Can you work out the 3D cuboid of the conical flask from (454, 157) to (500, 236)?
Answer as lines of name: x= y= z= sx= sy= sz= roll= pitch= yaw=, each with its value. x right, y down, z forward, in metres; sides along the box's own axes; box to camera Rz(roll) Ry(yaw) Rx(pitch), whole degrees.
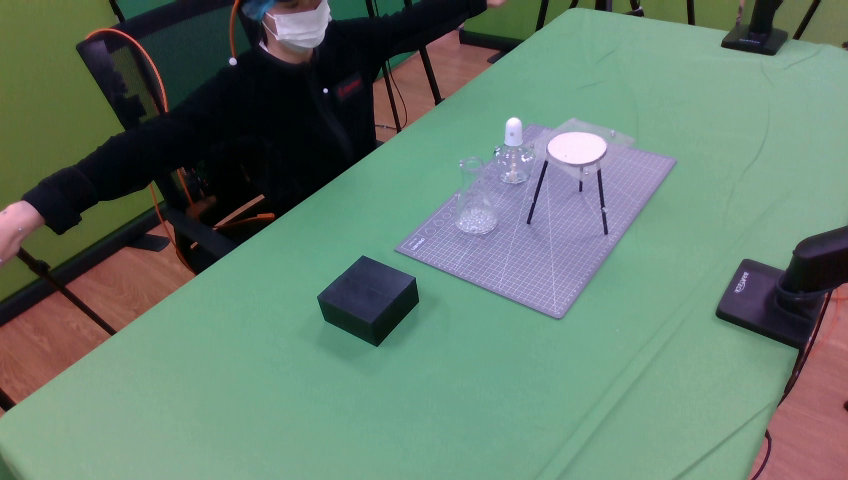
conical flask: x=0.081 y=-0.072 z=0.966 sx=0.075 sy=0.122 sz=0.075 roll=-5 pitch=40 yaw=4

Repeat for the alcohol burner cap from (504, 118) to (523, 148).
alcohol burner cap: x=0.154 y=-0.186 z=1.042 sx=0.034 sy=0.048 sz=0.033 roll=-4 pitch=33 yaw=3

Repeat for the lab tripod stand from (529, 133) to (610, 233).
lab tripod stand: x=0.236 y=-0.089 z=0.953 sx=0.148 sy=0.132 sz=0.147 roll=-5 pitch=42 yaw=5

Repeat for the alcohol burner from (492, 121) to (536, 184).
alcohol burner: x=0.159 y=-0.158 z=1.064 sx=0.078 sy=0.119 sz=0.077 roll=-3 pitch=41 yaw=3

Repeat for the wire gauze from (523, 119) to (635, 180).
wire gauze: x=0.233 y=-0.143 z=0.913 sx=0.122 sy=0.011 sz=0.124 roll=-32 pitch=45 yaw=-25
